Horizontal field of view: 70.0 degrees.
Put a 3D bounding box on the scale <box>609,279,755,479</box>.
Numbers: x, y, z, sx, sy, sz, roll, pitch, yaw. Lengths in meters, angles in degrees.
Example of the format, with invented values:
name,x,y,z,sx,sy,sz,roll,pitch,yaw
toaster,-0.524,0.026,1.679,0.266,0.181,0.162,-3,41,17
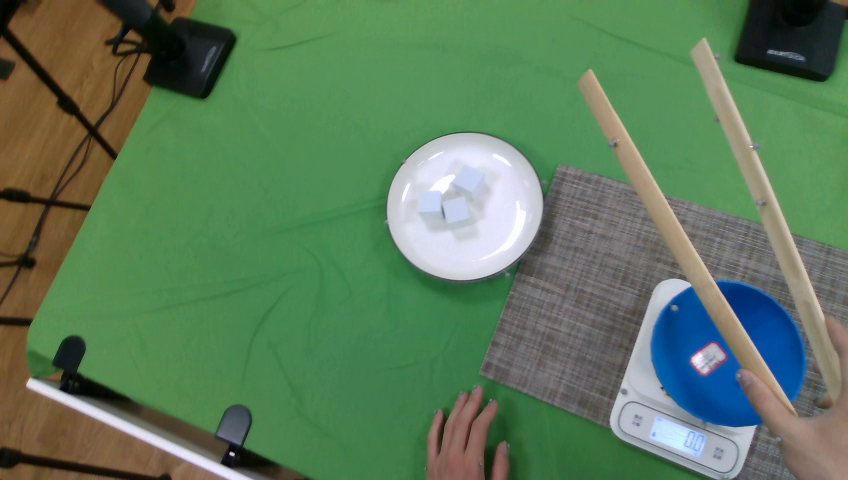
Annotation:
name,x,y,z,sx,sy,sz,roll,pitch,yaw
scale,0.314,0.156,0.699,0.148,0.032,0.200,20,79,14

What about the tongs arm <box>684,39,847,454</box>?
name,x,y,z,sx,sy,sz,roll,pitch,yaw
tongs arm,0.300,-0.006,0.546,0.051,0.026,0.383,-16,79,-17

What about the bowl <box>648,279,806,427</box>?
name,x,y,z,sx,sy,sz,roll,pitch,yaw
bowl,0.313,0.123,0.652,0.151,0.077,0.150,-2,75,8

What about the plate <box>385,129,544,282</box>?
name,x,y,z,sx,sy,sz,roll,pitch,yaw
plate,0.053,-0.044,0.799,0.207,0.039,0.206,-2,74,9

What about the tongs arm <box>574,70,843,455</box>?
name,x,y,z,sx,sy,sz,roll,pitch,yaw
tongs arm,0.235,0.016,0.527,0.028,0.028,0.386,-26,81,-22
